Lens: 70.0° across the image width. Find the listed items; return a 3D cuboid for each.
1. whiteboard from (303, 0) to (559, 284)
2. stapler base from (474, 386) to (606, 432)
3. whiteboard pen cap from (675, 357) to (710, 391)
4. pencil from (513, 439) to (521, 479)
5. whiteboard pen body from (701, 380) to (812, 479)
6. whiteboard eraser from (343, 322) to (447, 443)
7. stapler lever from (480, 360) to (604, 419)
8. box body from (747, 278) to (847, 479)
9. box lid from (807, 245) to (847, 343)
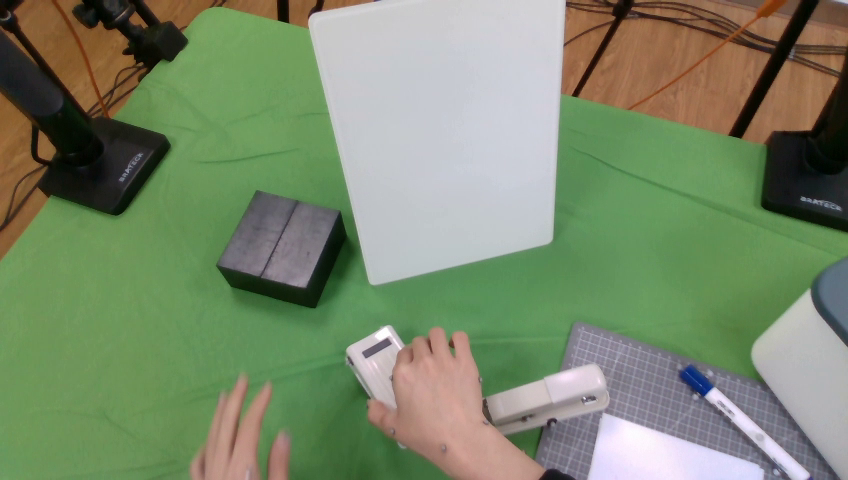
[{"bbox_3d":[0.010,-0.132,0.635,0.217,0.308,0.142,-13,42,-6],"label":"whiteboard"},{"bbox_3d":[0.116,0.153,0.598,0.131,0.024,0.041,-13,60,-4],"label":"stapler base"},{"bbox_3d":[0.270,0.134,0.607,0.018,0.018,0.033,-36,64,-18],"label":"whiteboard pen cap"},{"bbox_3d":[0.083,0.276,0.538,0.012,0.012,0.192,4,60,3],"label":"pencil"},{"bbox_3d":[0.307,0.172,0.583,0.017,0.017,0.139,-36,64,-18],"label":"whiteboard pen body"},{"bbox_3d":[-0.030,0.138,0.592,0.055,0.042,0.111,-30,61,-17],"label":"whiteboard eraser"},{"bbox_3d":[0.113,0.142,0.576,0.118,0.040,0.026,-13,59,-4],"label":"stapler lever"},{"bbox_3d":[0.502,0.155,0.511,0.254,0.161,0.360,-24,63,-13],"label":"box body"},{"bbox_3d":[0.500,0.117,0.448,0.263,0.015,0.368,-24,64,-13],"label":"box lid"}]
